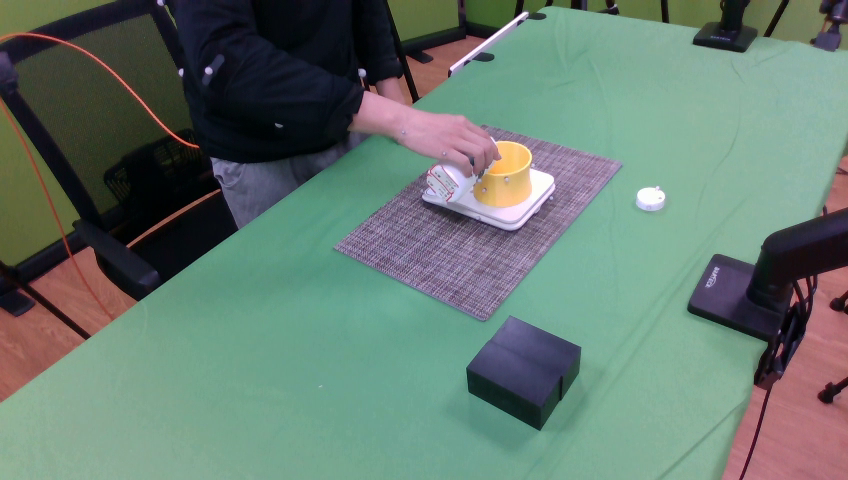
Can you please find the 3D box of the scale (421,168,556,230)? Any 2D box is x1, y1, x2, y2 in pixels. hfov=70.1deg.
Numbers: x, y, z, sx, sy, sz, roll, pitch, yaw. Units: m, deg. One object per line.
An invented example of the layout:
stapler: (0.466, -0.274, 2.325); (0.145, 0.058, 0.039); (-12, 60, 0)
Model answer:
scale: (0.110, -0.089, 1.042); (0.199, 0.032, 0.149); (23, 48, 31)

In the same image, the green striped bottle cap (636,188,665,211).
green striped bottle cap: (0.374, -0.067, 0.998); (0.044, 0.020, 0.044); (-6, 39, 5)

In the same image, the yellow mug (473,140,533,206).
yellow mug: (0.125, -0.121, 1.004); (0.100, 0.064, 0.130); (-13, 40, -5)

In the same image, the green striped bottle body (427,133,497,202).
green striped bottle body: (0.063, -0.115, 0.907); (0.062, 0.063, 0.119); (22, 50, 30)
